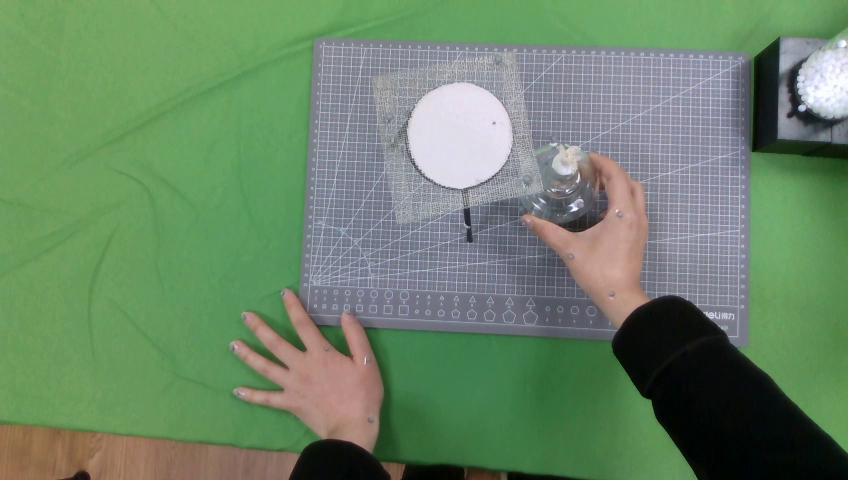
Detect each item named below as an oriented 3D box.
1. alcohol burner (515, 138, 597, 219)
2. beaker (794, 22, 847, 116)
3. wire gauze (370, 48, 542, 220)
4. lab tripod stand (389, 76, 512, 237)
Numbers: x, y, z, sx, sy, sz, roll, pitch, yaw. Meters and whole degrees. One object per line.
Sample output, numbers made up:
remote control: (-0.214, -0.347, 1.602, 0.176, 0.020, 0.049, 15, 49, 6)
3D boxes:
alcohol burner: (0.123, -0.062, 0.557, 0.078, 0.119, 0.077, -1, 79, 6)
beaker: (0.378, -0.156, 0.520, 0.074, 0.100, 0.084, 13, 85, 3)
wire gauze: (0.025, -0.087, 0.489, 0.121, 0.011, 0.125, -10, 87, 0)
lab tripod stand: (0.031, -0.080, 0.556, 0.148, 0.131, 0.148, 0, 87, 0)
